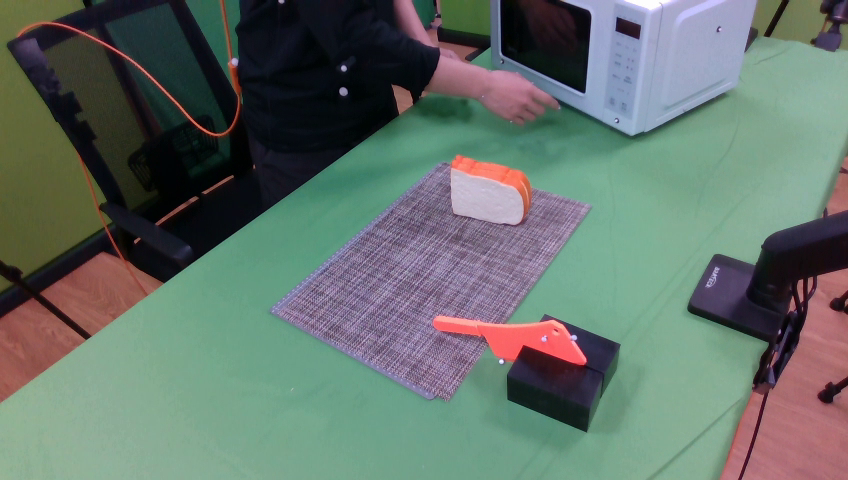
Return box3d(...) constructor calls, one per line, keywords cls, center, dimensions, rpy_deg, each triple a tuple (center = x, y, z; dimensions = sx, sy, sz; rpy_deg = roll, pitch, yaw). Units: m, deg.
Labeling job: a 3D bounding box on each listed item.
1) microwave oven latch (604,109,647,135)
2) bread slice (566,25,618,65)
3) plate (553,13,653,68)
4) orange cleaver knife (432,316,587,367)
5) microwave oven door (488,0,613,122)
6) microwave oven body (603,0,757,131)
box3d(cls="microwave oven latch", center=(0.378, -0.225, 1.139), dimensions=(0.030, 0.029, 0.078), rpy_deg=(-26, 43, -20))
box3d(cls="bread slice", center=(0.362, -0.427, 1.325), dimensions=(0.107, 0.018, 0.133), rpy_deg=(0, 51, 6))
box3d(cls="plate", center=(0.385, -0.427, 1.312), dimensions=(0.207, 0.039, 0.206), rpy_deg=(-3, 45, 3))
box3d(cls="orange cleaver knife", center=(0.101, 0.127, 0.761), dimensions=(0.210, 0.077, 0.012), rpy_deg=(-1, 34, 40))
box3d(cls="microwave oven door", center=(0.250, -0.412, 1.219), dimensions=(0.039, 0.245, 0.352), rpy_deg=(-27, 44, -21))
box3d(cls="microwave oven body", center=(0.396, -0.448, 1.248), dimensions=(0.327, 0.261, 0.437), rpy_deg=(-27, 44, -21))
